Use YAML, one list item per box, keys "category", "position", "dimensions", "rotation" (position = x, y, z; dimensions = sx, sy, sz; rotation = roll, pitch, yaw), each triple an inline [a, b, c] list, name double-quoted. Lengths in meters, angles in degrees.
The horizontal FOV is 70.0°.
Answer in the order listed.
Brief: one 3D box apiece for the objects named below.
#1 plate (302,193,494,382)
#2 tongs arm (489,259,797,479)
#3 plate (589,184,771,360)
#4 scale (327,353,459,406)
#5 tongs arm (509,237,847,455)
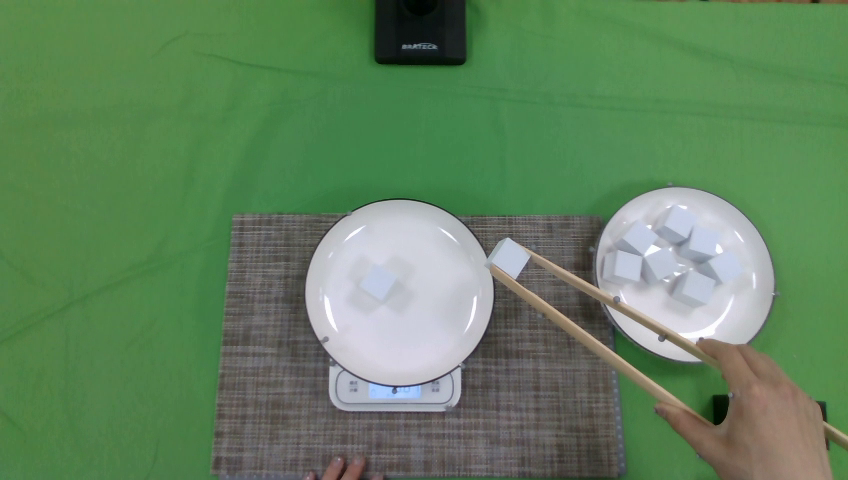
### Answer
- category: "plate"
  position: [-0.028, 0.051, 0.670]
  dimensions: [0.209, 0.038, 0.208]
  rotation: [0, 77, -1]
- category: "tongs arm"
  position: [0.210, 0.125, 0.531]
  dimensions: [0.384, 0.028, 0.028]
  rotation: [36, 69, 24]
- category: "plate"
  position: [0.295, 0.037, 0.713]
  dimensions: [0.208, 0.039, 0.206]
  rotation: [0, 77, -1]
- category: "scale"
  position: [-0.034, 0.087, 0.695]
  dimensions: [0.149, 0.032, 0.200]
  rotation: [1, 77, -1]
- category: "tongs arm"
  position: [0.226, 0.108, 0.537]
  dimensions: [0.382, 0.027, 0.050]
  rotation: [31, 71, 23]
